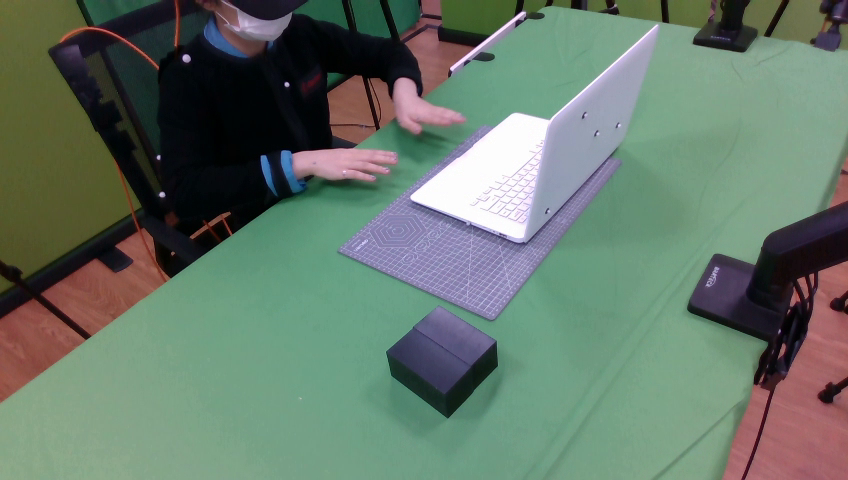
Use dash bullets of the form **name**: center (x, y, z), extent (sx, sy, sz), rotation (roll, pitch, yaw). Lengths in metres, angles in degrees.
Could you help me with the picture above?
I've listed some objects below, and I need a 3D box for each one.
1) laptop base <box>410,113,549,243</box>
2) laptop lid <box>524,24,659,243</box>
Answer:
- **laptop base**: center (0.171, -0.126, 1.096), extent (0.233, 0.023, 0.355), rotation (21, 47, 33)
- **laptop lid**: center (0.266, -0.170, 0.949), extent (0.013, 0.242, 0.358), rotation (30, 50, 25)
